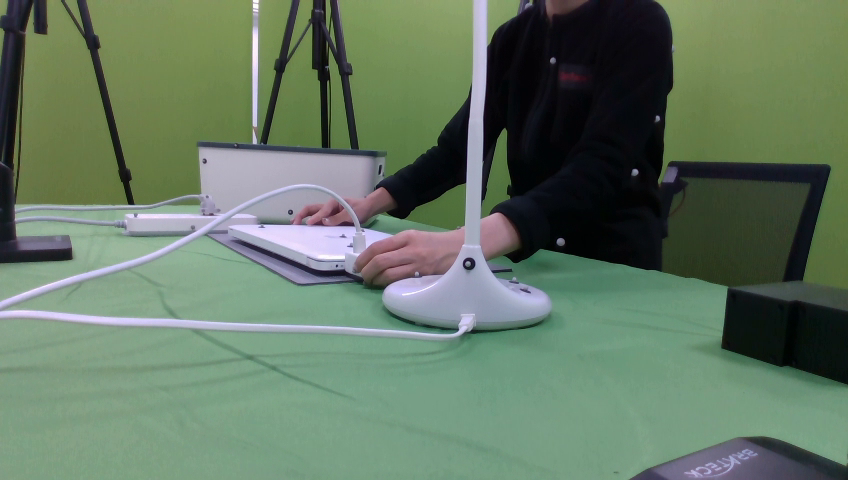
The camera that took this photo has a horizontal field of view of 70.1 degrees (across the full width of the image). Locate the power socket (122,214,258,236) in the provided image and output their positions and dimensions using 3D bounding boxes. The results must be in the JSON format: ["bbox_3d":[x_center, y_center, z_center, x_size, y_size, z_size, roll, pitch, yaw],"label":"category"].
[{"bbox_3d":[-0.399,-0.028,1.049,0.228,0.032,0.072,-3,8,-34],"label":"power socket"}]

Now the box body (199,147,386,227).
[{"bbox_3d":[-0.277,-0.124,1.335,0.364,0.160,0.254,3,7,1],"label":"box body"}]

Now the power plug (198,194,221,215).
[{"bbox_3d":[-0.387,-0.055,1.089,0.035,0.052,0.072,-1,7,-22],"label":"power plug"}]

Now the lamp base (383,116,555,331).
[{"bbox_3d":[0.045,-0.019,0.547,0.161,0.180,0.179,2,10,-4],"label":"lamp base"}]

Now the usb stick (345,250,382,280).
[{"bbox_3d":[-0.073,0.027,0.687,0.021,0.027,0.059,-13,14,-35],"label":"usb stick"}]

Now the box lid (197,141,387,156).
[{"bbox_3d":[-0.275,-0.198,1.325,0.372,0.015,0.263,3,8,1],"label":"box lid"}]

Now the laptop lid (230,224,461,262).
[{"bbox_3d":[-0.120,0.000,0.889,0.243,0.013,0.355,1,7,-33],"label":"laptop lid"}]

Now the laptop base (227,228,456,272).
[{"bbox_3d":[-0.122,0.012,0.889,0.237,0.023,0.352,2,6,-35],"label":"laptop base"}]
